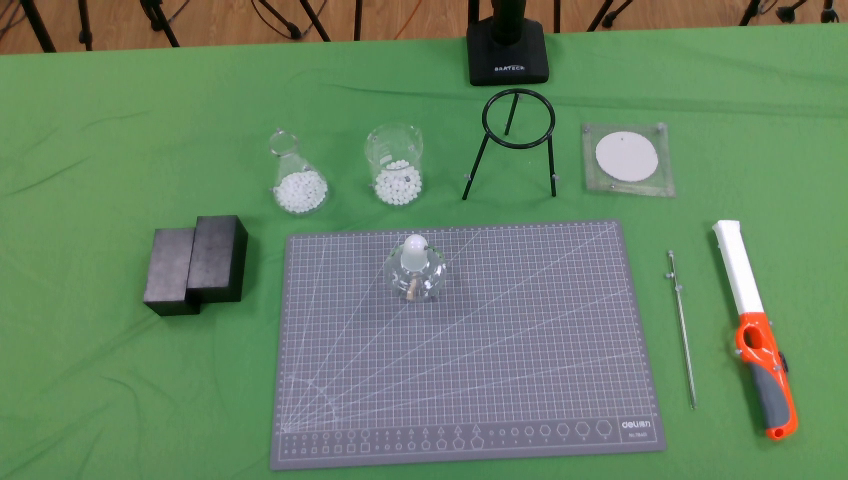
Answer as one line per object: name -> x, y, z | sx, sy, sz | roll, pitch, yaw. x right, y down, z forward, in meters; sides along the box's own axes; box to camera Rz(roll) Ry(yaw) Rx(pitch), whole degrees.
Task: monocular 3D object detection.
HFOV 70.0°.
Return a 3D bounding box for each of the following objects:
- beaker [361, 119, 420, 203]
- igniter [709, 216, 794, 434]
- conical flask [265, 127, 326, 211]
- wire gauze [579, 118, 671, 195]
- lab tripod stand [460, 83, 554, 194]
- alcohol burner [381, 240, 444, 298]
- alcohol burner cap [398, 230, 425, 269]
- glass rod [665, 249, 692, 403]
beaker -> -0.039, -0.103, 0.805 | 0.084, 0.101, 0.073 | -41, 70, -17
igniter -> 0.399, 0.095, 0.742 | 0.057, 0.025, 0.274 | 2, 64, -10
conical flask -> -0.174, -0.096, 0.791 | 0.075, 0.123, 0.074 | 0, 64, 1
wire gauze -> 0.284, -0.123, 0.859 | 0.125, 0.011, 0.120 | 4, 65, 1
lab tripod stand -> 0.112, -0.125, 0.794 | 0.148, 0.132, 0.147 | 0, 66, 1
alcohol burner -> -0.014, 0.025, 0.732 | 0.078, 0.120, 0.077 | 0, 63, 0
alcohol burner cap -> -0.013, 0.008, 0.700 | 0.034, 0.048, 0.033 | 3, 58, -5
glass rod -> 0.314, 0.102, 0.751 | 0.008, 0.008, 0.198 | 2, 64, 2
